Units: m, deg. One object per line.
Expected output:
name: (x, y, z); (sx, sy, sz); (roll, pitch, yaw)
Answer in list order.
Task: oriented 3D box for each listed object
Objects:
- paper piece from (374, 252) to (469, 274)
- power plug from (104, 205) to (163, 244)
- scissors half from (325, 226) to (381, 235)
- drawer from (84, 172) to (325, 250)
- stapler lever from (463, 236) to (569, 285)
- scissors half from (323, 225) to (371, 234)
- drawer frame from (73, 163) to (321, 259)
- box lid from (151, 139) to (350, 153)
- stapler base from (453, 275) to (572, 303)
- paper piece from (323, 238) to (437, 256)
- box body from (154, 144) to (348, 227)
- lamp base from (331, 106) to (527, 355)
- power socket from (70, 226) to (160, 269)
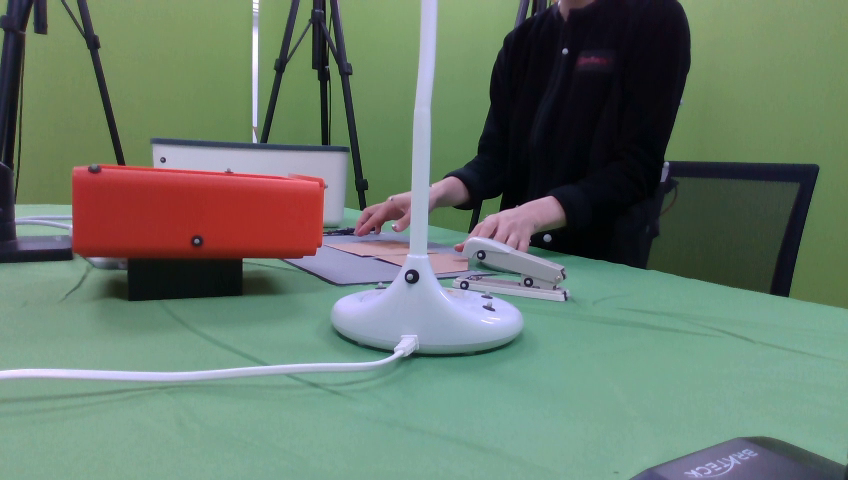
paper piece: (0.021, 0.029, 0.829); (0.139, 0.008, 0.135); (0, 11, -37)
power plug: (-0.390, -0.021, 0.815); (0.073, 0.052, 0.035); (-1, 7, -27)
scissors half: (-0.153, -0.014, 1.079); (0.176, 0.013, 0.040); (-6, 5, -34)
drawer: (-0.227, -0.036, 0.638); (0.213, 0.073, 0.193); (-1, 9, -23)
stapler lever: (0.100, 0.022, 0.666); (0.117, 0.040, 0.027); (8, 12, 23)
scissors half: (-0.166, -0.016, 1.094); (0.040, 0.013, 0.176); (7, 10, 39)
drawer frame: (-0.232, -0.034, 0.635); (0.214, 0.082, 0.201); (1, 8, -23)
box lid: (-0.352, -0.191, 1.256); (0.373, 0.015, 0.262); (0, 8, -18)
stapler base: (0.097, 0.047, 0.670); (0.130, 0.024, 0.041); (7, 11, 23)
paper piece: (-0.068, 0.011, 0.935); (0.136, 0.004, 0.134); (-3, 10, -32)
box body: (-0.357, -0.119, 1.264); (0.365, 0.160, 0.253); (0, 7, -18)
lamp base: (0.006, -0.012, 0.478); (0.161, 0.180, 0.179); (2, 10, 2)
power socket: (-0.409, 0.004, 0.793); (0.072, 0.032, 0.225); (-2, 8, -38)
